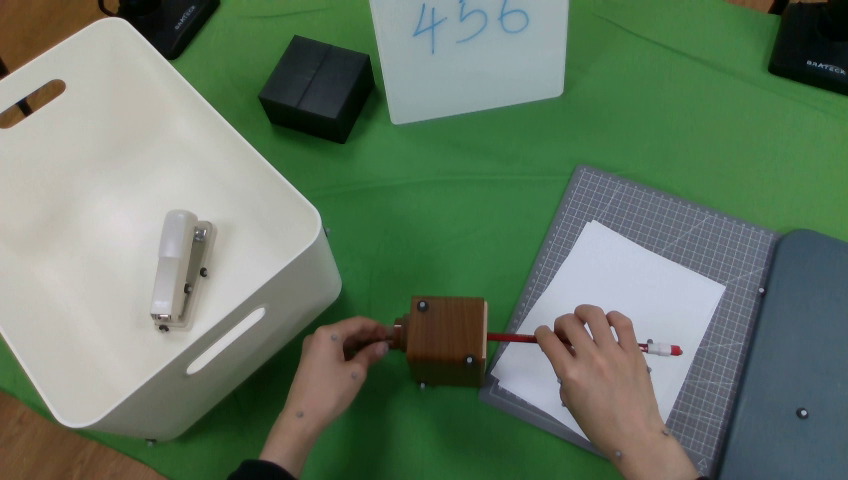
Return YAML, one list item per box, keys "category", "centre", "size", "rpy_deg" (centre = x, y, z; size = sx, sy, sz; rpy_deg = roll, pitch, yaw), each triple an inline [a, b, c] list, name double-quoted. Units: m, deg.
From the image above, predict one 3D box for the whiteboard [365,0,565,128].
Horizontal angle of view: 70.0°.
- category: "whiteboard"
  centre: [0.038, -0.311, 0.686]
  size: [0.217, 0.308, 0.142]
  rpy_deg: [-10, 45, -1]

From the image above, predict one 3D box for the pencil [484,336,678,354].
- category: "pencil"
  centre: [0.128, 0.091, 0.531]
  size: [0.194, 0.012, 0.012]
  rpy_deg: [3, 64, -4]

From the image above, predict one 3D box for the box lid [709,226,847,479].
- category: "box lid"
  centre: [0.428, 0.175, 0.568]
  size: [0.262, 0.015, 0.370]
  rpy_deg: [22, 69, 11]

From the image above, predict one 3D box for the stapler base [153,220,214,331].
- category: "stapler base"
  centre: [-0.263, 0.033, 0.658]
  size: [0.041, 0.024, 0.129]
  rpy_deg: [2, 67, 6]

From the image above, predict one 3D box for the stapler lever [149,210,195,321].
- category: "stapler lever"
  centre: [-0.264, 0.024, 0.634]
  size: [0.027, 0.040, 0.117]
  rpy_deg: [2, 68, 7]

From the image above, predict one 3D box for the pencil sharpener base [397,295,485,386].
- category: "pencil sharpener base"
  centre: [0.018, 0.097, 0.574]
  size: [0.076, 0.108, 0.061]
  rpy_deg: [2, 65, 5]

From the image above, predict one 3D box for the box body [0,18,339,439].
- category: "box body"
  centre: [-0.289, -0.012, 0.610]
  size: [0.254, 0.161, 0.361]
  rpy_deg: [-42, 70, -15]

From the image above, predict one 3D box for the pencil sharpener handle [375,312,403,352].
- category: "pencil sharpener handle"
  centre: [-0.034, 0.090, 0.566]
  size: [0.030, 0.068, 0.035]
  rpy_deg: [2, 65, 5]
